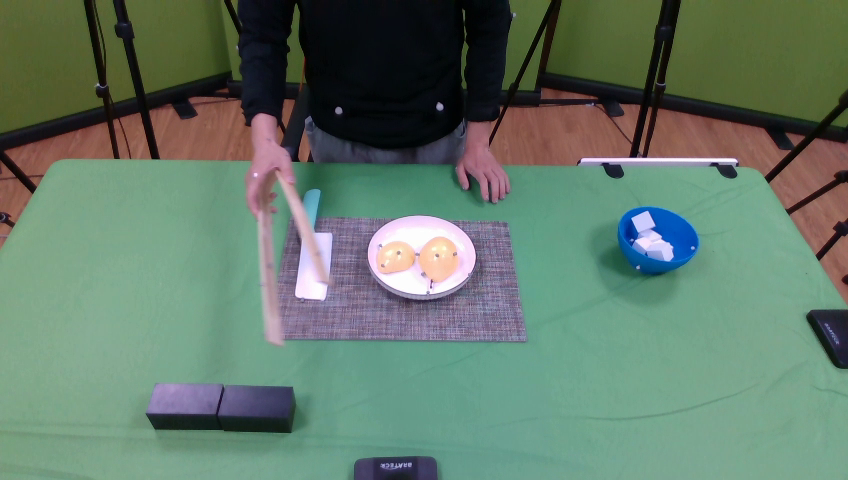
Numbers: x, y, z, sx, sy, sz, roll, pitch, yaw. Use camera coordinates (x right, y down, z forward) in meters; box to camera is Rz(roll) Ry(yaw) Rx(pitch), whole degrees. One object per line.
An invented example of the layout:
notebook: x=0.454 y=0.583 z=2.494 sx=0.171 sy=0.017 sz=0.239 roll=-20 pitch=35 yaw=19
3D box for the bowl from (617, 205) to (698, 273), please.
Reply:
bowl: x=0.442 y=0.010 z=1.181 sx=0.151 sy=0.077 sz=0.150 roll=2 pitch=46 yaw=-2

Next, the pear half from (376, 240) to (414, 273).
pear half: x=-0.058 y=0.026 z=1.146 sx=0.070 sy=0.031 sz=0.088 roll=23 pitch=43 yaw=22

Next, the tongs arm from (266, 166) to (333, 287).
tongs arm: x=-0.205 y=-0.037 z=0.975 sx=0.028 sy=0.028 sz=0.385 roll=21 pitch=20 yaw=-34

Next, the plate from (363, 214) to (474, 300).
plate: x=-0.010 y=0.036 z=1.146 sx=0.208 sy=0.039 sz=0.206 roll=2 pitch=46 yaw=-2

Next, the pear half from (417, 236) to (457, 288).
pear half: x=0.022 y=0.039 z=1.127 sx=0.076 sy=0.056 sz=0.109 roll=6 pitch=50 yaw=7

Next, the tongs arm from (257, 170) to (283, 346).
tongs arm: x=-0.248 y=0.012 z=0.997 sx=0.027 sy=0.051 sz=0.382 roll=25 pitch=27 yaw=-35

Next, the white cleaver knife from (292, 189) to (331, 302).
white cleaver knife: x=-0.215 y=0.006 z=1.178 sx=0.066 sy=0.021 sz=0.284 roll=5 pitch=49 yaw=-12
